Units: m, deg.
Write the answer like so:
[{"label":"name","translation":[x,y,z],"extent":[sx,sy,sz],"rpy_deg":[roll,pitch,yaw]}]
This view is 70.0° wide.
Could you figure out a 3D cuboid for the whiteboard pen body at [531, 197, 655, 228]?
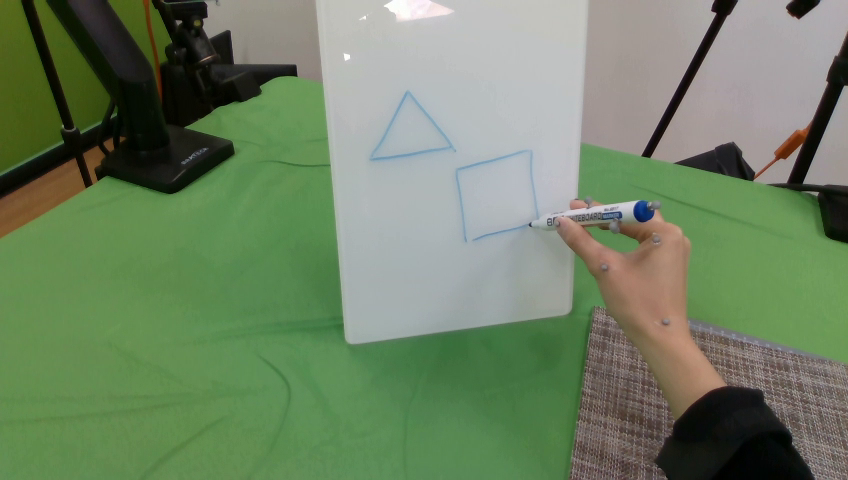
[{"label":"whiteboard pen body","translation":[0.123,-0.019,0.472],"extent":[0.017,0.017,0.140],"rpy_deg":[-17,5,-24]}]

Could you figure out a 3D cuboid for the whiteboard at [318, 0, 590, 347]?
[{"label":"whiteboard","translation":[0.018,-0.083,0.564],"extent":[0.218,0.307,0.142],"rpy_deg":[-6,19,-11]}]
